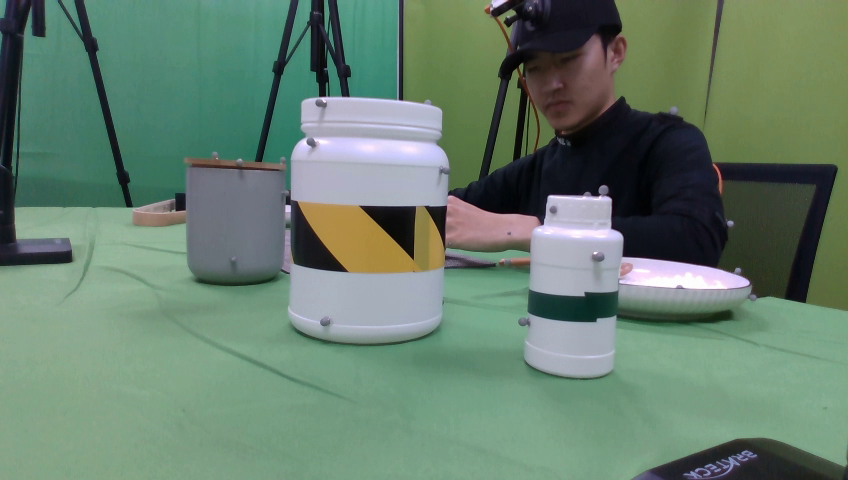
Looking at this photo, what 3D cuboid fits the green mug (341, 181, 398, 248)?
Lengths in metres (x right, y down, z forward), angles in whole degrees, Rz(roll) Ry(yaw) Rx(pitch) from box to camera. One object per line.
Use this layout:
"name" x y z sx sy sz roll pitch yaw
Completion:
"green mug" -0.090 -0.044 0.997 0.093 0.105 0.125 1 7 -8

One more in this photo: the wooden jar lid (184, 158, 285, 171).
"wooden jar lid" -0.210 -0.078 0.674 0.108 0.020 0.108 4 6 0

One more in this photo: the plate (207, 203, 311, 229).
"plate" -0.342 -0.050 1.259 0.208 0.039 0.207 2 7 0

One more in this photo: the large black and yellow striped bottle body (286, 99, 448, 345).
"large black and yellow striped bottle body" -0.047 -0.018 0.501 0.131 0.184 0.130 2 7 0

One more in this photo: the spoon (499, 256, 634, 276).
"spoon" 0.162 0.027 0.679 0.195 0.021 0.041 8 3 -30

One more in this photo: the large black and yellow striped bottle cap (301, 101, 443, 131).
"large black and yellow striped bottle cap" -0.042 -0.100 0.491 0.115 0.019 0.115 1 8 0

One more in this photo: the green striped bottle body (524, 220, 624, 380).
"green striped bottle body" 0.104 0.031 0.422 0.063 0.119 0.063 2 7 0

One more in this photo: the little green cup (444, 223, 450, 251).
"little green cup" 0.009 -0.004 0.916 0.061 0.038 0.061 1 12 0

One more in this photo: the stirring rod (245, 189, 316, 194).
"stirring rod" -0.351 -0.119 1.490 0.177 0.014 0.006 -2 6 -29

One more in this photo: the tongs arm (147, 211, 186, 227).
"tongs arm" -0.478 -0.059 1.322 0.028 0.028 0.388 12 8 7

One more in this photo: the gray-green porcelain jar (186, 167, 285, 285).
"gray-green porcelain jar" -0.212 -0.017 0.682 0.106 0.126 0.106 2 7 0

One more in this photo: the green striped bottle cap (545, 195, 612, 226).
"green striped bottle cap" 0.106 -0.020 0.414 0.044 0.020 0.044 2 4 0

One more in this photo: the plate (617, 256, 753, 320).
"plate" 0.234 0.049 0.651 0.209 0.038 0.209 2 7 0

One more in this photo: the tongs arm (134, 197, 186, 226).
"tongs arm" -0.556 -0.066 1.320 0.051 0.026 0.384 7 7 -5
